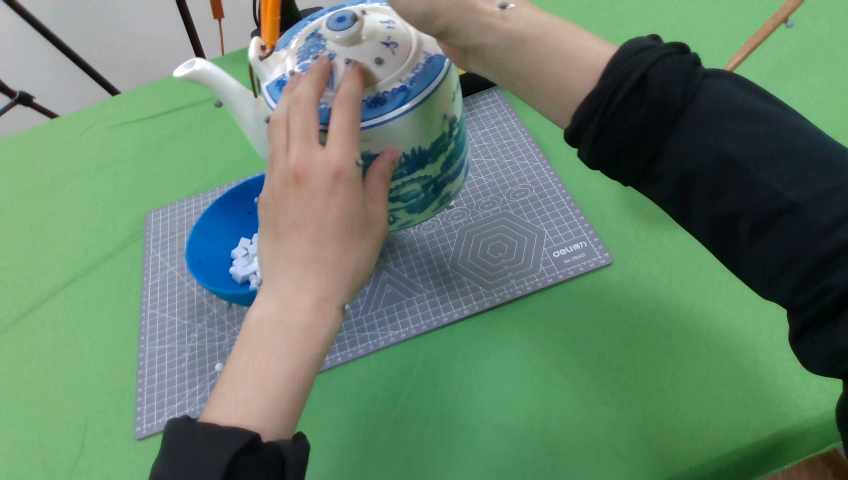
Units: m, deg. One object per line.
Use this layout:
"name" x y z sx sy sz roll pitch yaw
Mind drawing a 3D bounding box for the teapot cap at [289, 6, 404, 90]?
"teapot cap" -0.056 -0.139 0.428 0.085 0.044 0.084 -5 58 9

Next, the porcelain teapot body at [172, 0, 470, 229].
"porcelain teapot body" -0.076 -0.114 0.463 0.205 0.227 0.143 -10 56 5

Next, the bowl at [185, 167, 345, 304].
"bowl" -0.139 0.008 0.581 0.151 0.077 0.150 -8 49 10

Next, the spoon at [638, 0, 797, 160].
"spoon" 0.269 -0.150 0.552 0.022 0.194 0.041 13 37 -32

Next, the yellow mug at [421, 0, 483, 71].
"yellow mug" 0.009 -0.232 0.684 0.099 0.064 0.130 7 55 21
